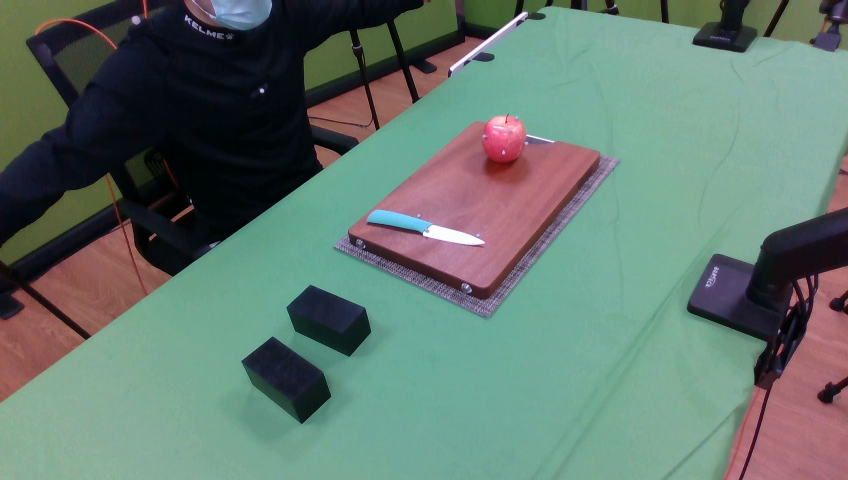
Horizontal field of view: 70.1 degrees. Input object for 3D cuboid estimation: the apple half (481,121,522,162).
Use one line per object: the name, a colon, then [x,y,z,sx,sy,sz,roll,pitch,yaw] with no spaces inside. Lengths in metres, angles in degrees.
apple half: [0.130,-0.165,1.057,0.081,0.081,0.033,16,42,25]

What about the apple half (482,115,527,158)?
apple half: [0.149,-0.188,1.082,0.080,0.075,0.053,13,40,28]

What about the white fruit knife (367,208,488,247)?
white fruit knife: [0.004,-0.019,0.952,0.206,0.016,0.027,15,75,21]
